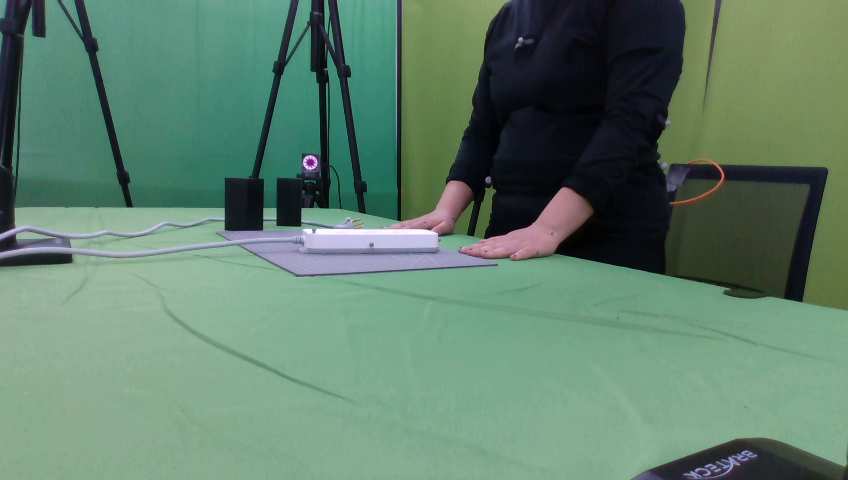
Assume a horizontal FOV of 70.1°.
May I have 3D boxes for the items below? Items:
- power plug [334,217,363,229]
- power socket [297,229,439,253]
[{"bbox_3d":[-0.143,-0.031,1.129,0.053,0.035,0.072,-17,22,-9],"label":"power plug"},{"bbox_3d":[-0.084,0.001,0.942,0.228,0.032,0.072,0,7,-20],"label":"power socket"}]
